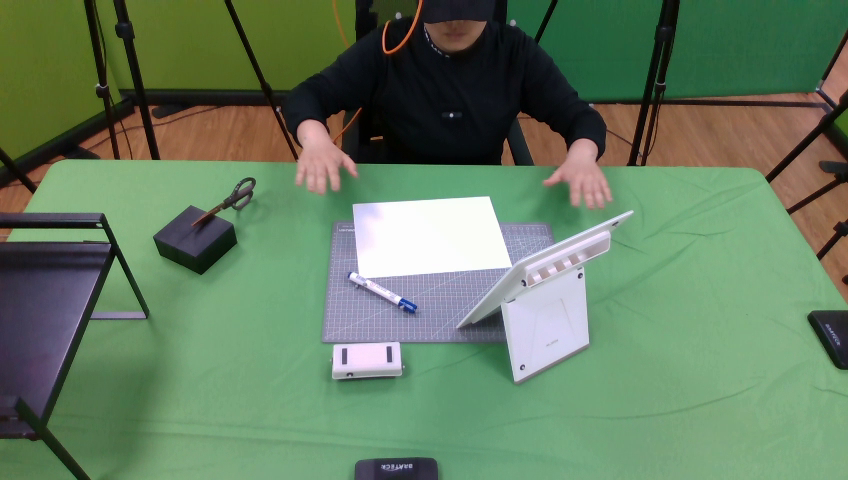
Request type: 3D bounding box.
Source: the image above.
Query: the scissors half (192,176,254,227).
[{"bbox_3d":[-0.388,-0.075,1.174,0.013,0.040,0.174,29,47,8],"label":"scissors half"}]

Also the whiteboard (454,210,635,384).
[{"bbox_3d":[0.210,0.110,0.955,0.217,0.306,0.143,-21,72,-23],"label":"whiteboard"}]

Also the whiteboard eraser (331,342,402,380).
[{"bbox_3d":[-0.094,0.198,0.986,0.113,0.042,0.055,-2,44,-6],"label":"whiteboard eraser"}]

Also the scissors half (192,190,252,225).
[{"bbox_3d":[-0.393,-0.060,1.187,0.013,0.040,0.175,25,29,12],"label":"scissors half"}]

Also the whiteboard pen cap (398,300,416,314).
[{"bbox_3d":[-0.031,0.118,1.080,0.033,0.018,0.018,24,49,20],"label":"whiteboard pen cap"}]

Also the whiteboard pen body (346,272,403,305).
[{"bbox_3d":[-0.081,0.092,1.098,0.140,0.017,0.017,26,50,17],"label":"whiteboard pen body"}]
